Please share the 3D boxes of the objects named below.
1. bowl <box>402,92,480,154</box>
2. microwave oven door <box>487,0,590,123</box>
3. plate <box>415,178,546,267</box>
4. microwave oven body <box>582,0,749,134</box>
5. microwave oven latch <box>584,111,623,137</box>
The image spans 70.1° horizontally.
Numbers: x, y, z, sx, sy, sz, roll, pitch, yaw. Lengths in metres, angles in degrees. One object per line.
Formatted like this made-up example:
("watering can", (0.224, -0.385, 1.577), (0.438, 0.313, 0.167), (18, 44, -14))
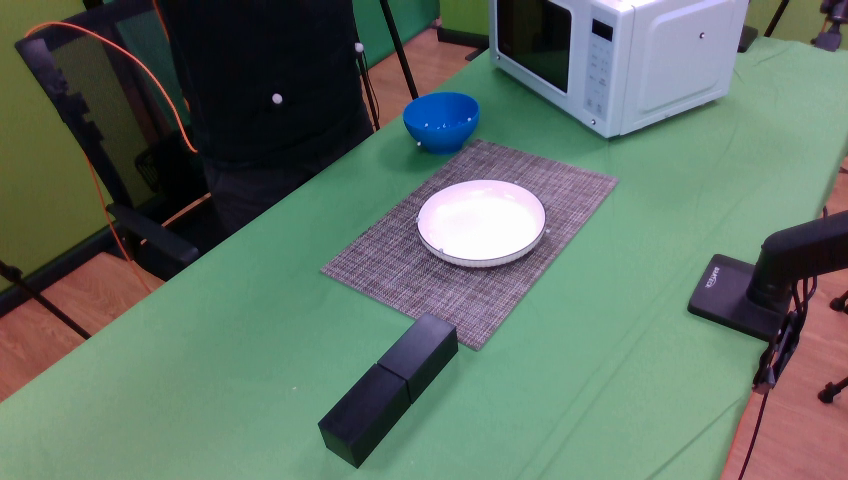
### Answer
("bowl", (0.036, -0.220, 1.180), (0.151, 0.077, 0.150), (-4, 40, 4))
("microwave oven door", (0.232, -0.420, 1.231), (0.039, 0.245, 0.352), (-22, 43, -16))
("plate", (0.091, -0.026, 0.970), (0.207, 0.039, 0.206), (-4, 41, 4))
("microwave oven body", (0.382, -0.444, 1.246), (0.327, 0.261, 0.437), (-22, 42, -16))
("microwave oven latch", (0.337, -0.222, 1.142), (0.030, 0.029, 0.078), (-21, 42, -14))
